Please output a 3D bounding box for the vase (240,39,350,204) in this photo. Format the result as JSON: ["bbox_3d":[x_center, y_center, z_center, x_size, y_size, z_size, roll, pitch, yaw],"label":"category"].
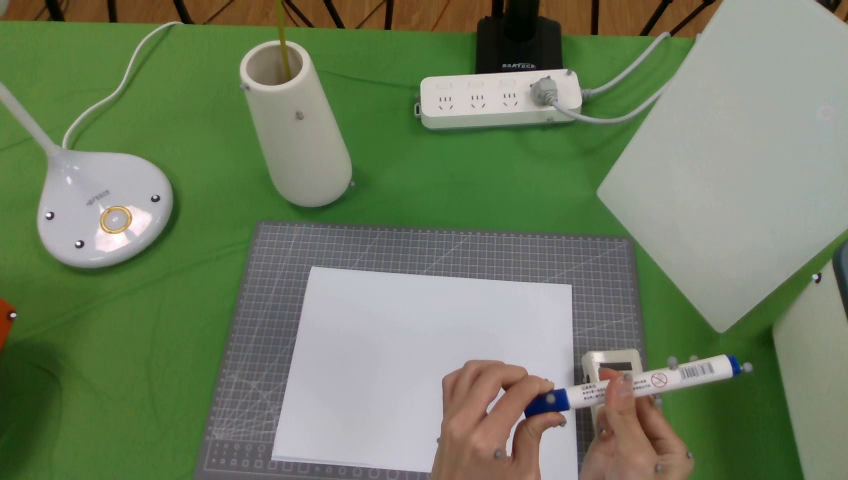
[{"bbox_3d":[-0.144,-0.126,0.678,0.098,0.201,0.097,-1,60,3],"label":"vase"}]

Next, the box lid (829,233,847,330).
[{"bbox_3d":[0.468,0.154,0.437,0.263,0.015,0.368,2,62,3],"label":"box lid"}]

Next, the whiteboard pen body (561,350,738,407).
[{"bbox_3d":[0.140,0.097,0.415,0.140,0.017,0.017,-15,60,8],"label":"whiteboard pen body"}]

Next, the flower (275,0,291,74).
[{"bbox_3d":[-0.139,-0.181,0.615,0.038,0.365,0.043,-8,42,-10],"label":"flower"}]

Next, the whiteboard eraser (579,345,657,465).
[{"bbox_3d":[0.189,0.161,0.595,0.055,0.042,0.111,-2,61,-1],"label":"whiteboard eraser"}]

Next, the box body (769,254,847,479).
[{"bbox_3d":[0.470,0.192,0.502,0.254,0.162,0.361,2,61,3],"label":"box body"}]

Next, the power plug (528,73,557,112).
[{"bbox_3d":[0.149,-0.179,0.766,0.035,0.053,0.072,6,63,6],"label":"power plug"}]

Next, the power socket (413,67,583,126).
[{"bbox_3d":[0.098,-0.190,0.801,0.227,0.033,0.071,-2,61,0],"label":"power socket"}]

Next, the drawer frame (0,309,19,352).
[{"bbox_3d":[-0.544,0.128,0.569,0.213,0.083,0.200,6,62,3],"label":"drawer frame"}]

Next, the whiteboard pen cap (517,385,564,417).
[{"bbox_3d":[0.083,0.111,0.423,0.033,0.018,0.018,-15,61,2],"label":"whiteboard pen cap"}]

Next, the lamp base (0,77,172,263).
[{"bbox_3d":[-0.401,-0.087,0.676,0.178,0.182,0.160,33,66,22],"label":"lamp base"}]

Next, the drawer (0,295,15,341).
[{"bbox_3d":[-0.538,0.127,0.567,0.211,0.074,0.193,5,62,5],"label":"drawer"}]

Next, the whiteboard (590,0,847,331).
[{"bbox_3d":[0.353,-0.090,0.616,0.144,0.307,0.215,-17,59,-29],"label":"whiteboard"}]
